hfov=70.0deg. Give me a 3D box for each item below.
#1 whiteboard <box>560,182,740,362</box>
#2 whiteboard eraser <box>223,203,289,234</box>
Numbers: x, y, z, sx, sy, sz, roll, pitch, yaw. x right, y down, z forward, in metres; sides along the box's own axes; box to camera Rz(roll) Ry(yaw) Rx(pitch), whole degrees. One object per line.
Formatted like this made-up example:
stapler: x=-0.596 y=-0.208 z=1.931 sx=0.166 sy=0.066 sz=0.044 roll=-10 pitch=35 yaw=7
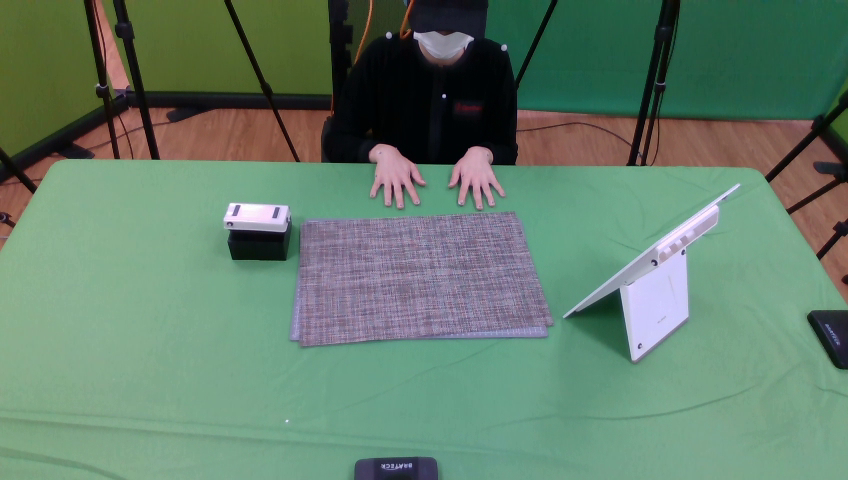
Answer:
whiteboard: x=0.406 y=0.075 z=1.001 sx=0.217 sy=0.306 sz=0.143 roll=-28 pitch=73 yaw=-28
whiteboard eraser: x=-0.311 y=-0.039 z=1.127 sx=0.113 sy=0.042 sz=0.055 roll=3 pitch=47 yaw=-2
